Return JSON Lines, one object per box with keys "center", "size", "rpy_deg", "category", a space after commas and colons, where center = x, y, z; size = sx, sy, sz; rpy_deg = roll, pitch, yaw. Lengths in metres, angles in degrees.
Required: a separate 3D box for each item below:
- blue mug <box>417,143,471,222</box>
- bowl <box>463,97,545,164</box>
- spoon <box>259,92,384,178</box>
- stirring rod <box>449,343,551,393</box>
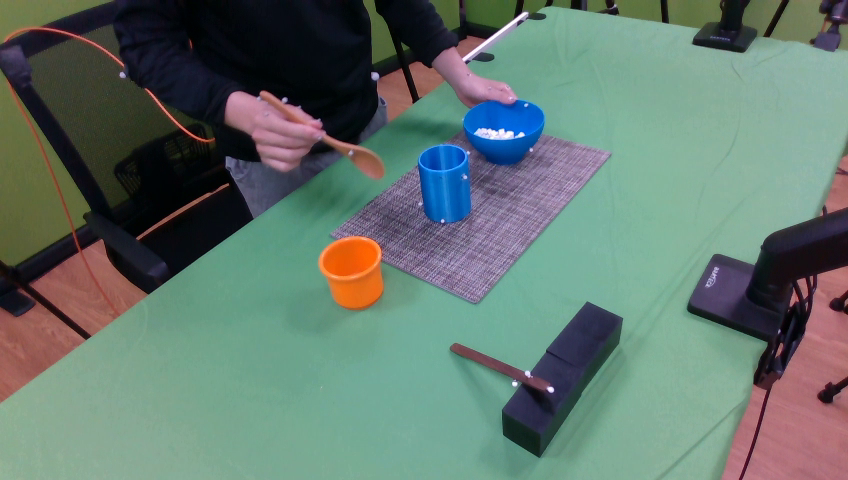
{"center": [0.031, -0.104, 1.014], "size": [0.082, 0.106, 0.115], "rpy_deg": [-14, 41, -7], "category": "blue mug"}
{"center": [0.149, -0.195, 1.123], "size": [0.151, 0.077, 0.150], "rpy_deg": [-4, 41, 4], "category": "bowl"}
{"center": [-0.135, -0.141, 0.812], "size": [0.041, 0.195, 0.021], "rpy_deg": [-30, 39, 46], "category": "spoon"}
{"center": [0.088, 0.154, 0.741], "size": [0.014, 0.006, 0.174], "rpy_deg": [-40, 28, -25], "category": "stirring rod"}
